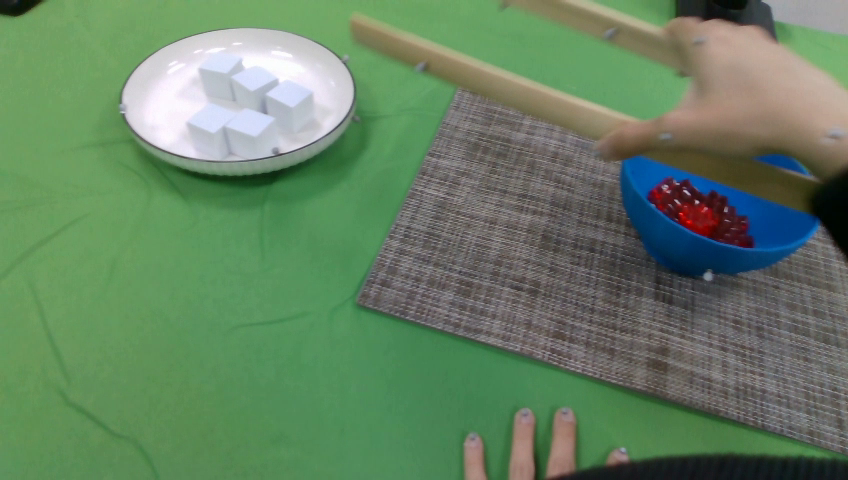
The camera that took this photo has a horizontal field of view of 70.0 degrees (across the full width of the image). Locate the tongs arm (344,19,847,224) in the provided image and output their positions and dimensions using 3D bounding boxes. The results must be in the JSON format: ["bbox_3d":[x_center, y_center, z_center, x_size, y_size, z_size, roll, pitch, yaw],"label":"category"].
[{"bbox_3d":[0.106,-0.083,0.387,0.385,0.028,0.028,24,59,21],"label":"tongs arm"}]

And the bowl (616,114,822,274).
[{"bbox_3d":[0.222,-0.025,0.491,0.151,0.077,0.150,3,49,-3],"label":"bowl"}]

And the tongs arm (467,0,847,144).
[{"bbox_3d":[0.136,-0.120,0.407,0.382,0.027,0.050,28,64,23],"label":"tongs arm"}]

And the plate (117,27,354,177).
[{"bbox_3d":[-0.171,-0.129,0.571,0.209,0.038,0.207,3,50,-3],"label":"plate"}]
